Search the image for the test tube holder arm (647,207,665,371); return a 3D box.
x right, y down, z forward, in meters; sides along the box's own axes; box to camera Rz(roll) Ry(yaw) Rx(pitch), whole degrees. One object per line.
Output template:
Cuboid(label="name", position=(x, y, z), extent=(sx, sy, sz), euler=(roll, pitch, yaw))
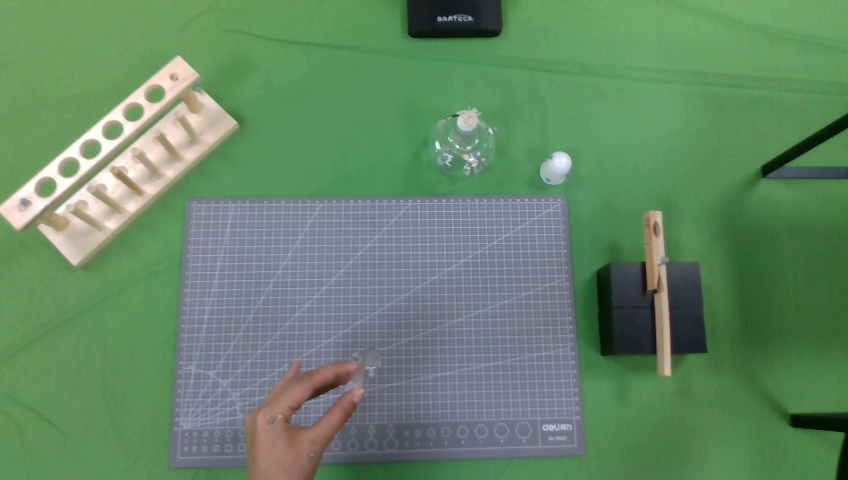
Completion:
Cuboid(label="test tube holder arm", position=(0.250, 0.051, 0.657), extent=(0.013, 0.015, 0.177), euler=(3, 78, -15))

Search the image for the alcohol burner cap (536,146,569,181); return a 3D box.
Cuboid(label="alcohol burner cap", position=(0.155, -0.093, 0.720), extent=(0.034, 0.048, 0.033), euler=(1, 77, -3))

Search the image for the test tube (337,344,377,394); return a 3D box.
Cuboid(label="test tube", position=(-0.061, 0.115, 0.529), extent=(0.017, 0.151, 0.017), euler=(6, 65, -13))

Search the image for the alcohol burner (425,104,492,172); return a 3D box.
Cuboid(label="alcohol burner", position=(0.041, -0.122, 0.683), extent=(0.078, 0.119, 0.077), euler=(1, 76, -4))

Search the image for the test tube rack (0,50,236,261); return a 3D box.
Cuboid(label="test tube rack", position=(-0.331, -0.091, 0.670), extent=(0.066, 0.085, 0.242), euler=(44, 79, 7))

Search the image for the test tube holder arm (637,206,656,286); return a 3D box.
Cuboid(label="test tube holder arm", position=(0.245, 0.007, 0.664), extent=(0.010, 0.015, 0.087), euler=(3, 78, -15))
